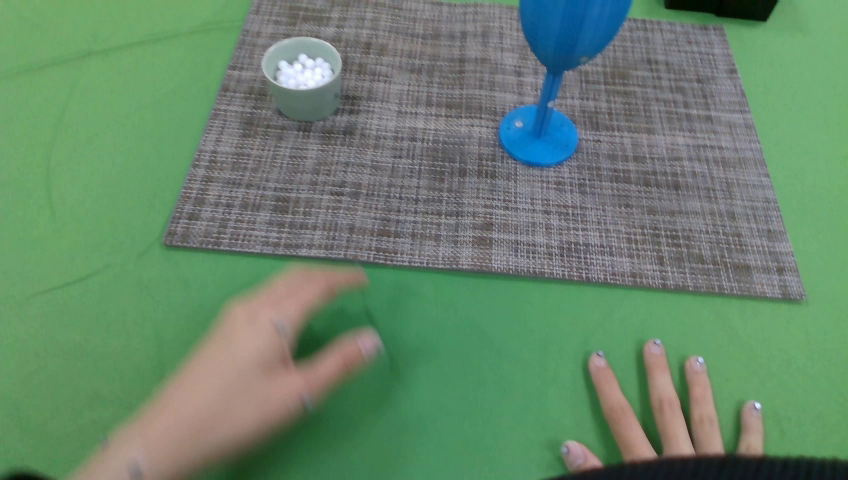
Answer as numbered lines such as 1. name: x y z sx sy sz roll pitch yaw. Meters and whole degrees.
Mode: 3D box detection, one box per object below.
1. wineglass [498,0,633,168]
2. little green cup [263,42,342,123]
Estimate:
1. wineglass: 0.095 -0.131 0.422 0.074 0.173 0.073 1 56 -1
2. little green cup: -0.096 -0.126 0.490 0.061 0.039 0.061 2 55 -2
